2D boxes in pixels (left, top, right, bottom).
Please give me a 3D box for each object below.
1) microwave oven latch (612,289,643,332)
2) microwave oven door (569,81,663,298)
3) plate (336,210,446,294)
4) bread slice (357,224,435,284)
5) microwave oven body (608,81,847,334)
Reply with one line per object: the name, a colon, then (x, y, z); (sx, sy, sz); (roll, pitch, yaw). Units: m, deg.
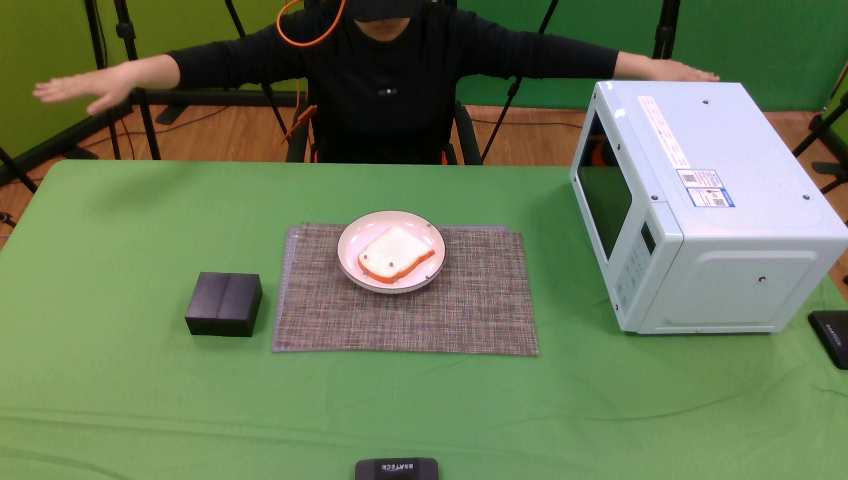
microwave oven latch: (0.357, 0.124, 1.068); (0.030, 0.029, 0.078); (0, 45, -3)
microwave oven door: (0.353, -0.104, 1.147); (0.039, 0.245, 0.353); (0, 46, -4)
plate: (-0.062, 0.026, 1.153); (0.209, 0.038, 0.208); (3, 46, -2)
bread slice: (-0.059, 0.028, 1.153); (0.104, 0.019, 0.131); (34, 53, 26)
microwave oven body: (0.501, -0.070, 1.132); (0.326, 0.261, 0.438); (0, 45, -3)
